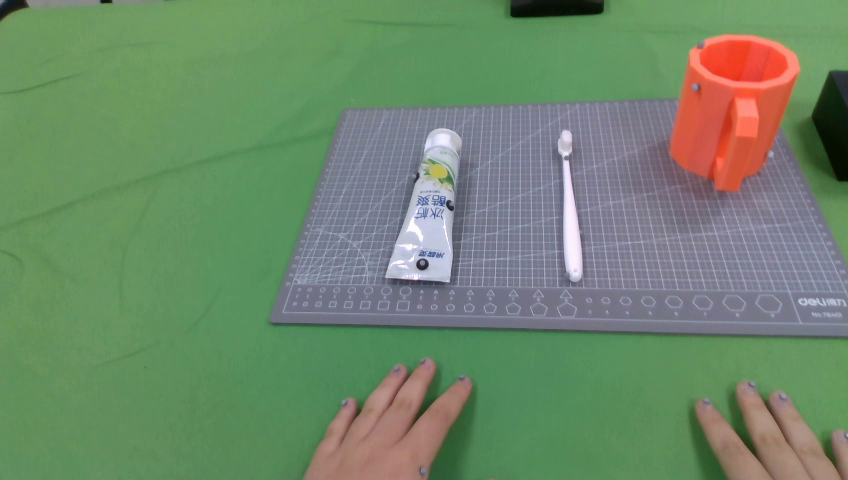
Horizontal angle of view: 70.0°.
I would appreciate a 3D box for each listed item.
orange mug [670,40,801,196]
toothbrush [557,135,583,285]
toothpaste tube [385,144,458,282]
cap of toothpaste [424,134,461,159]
[{"bbox_3d":[0.267,-0.102,0.527,0.083,0.102,0.125,6,43,14],"label":"orange mug"},{"bbox_3d":[0.130,-0.033,0.537,0.014,0.017,0.180,9,48,-1],"label":"toothbrush"},{"bbox_3d":[0.005,-0.029,0.543,0.055,0.035,0.163,-1,48,12],"label":"toothpaste tube"},{"bbox_3d":[0.018,-0.088,0.592,0.037,0.038,0.011,3,50,10],"label":"cap of toothpaste"}]
